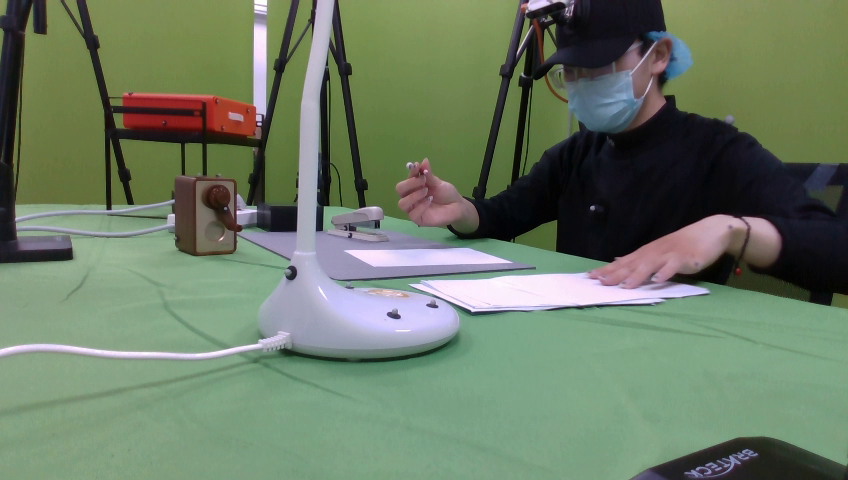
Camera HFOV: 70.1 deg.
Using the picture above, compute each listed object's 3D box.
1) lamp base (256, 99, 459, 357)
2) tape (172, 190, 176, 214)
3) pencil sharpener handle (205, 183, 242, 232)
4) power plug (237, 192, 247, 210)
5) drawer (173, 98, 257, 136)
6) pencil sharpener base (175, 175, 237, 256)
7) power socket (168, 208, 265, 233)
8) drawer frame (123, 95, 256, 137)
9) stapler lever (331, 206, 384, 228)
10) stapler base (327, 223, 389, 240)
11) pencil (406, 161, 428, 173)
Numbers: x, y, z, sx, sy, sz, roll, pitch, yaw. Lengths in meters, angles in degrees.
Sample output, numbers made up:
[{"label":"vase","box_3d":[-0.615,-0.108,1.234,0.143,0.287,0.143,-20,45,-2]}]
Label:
[{"label":"lamp base","box_3d":[-0.055,-0.013,0.463,0.160,0.180,0.180,6,11,27]},{"label":"tape","box_3d":[-0.515,-0.087,1.388,0.117,0.052,0.117,3,7,0]},{"label":"pencil sharpener handle","box_3d":[-0.265,-0.043,0.812,0.036,0.068,0.030,-32,28,-35]},{"label":"power plug","box_3d":[-0.386,-0.071,1.204,0.072,0.052,0.035,7,9,26]},{"label":"drawer","box_3d":[-0.518,-0.279,1.376,0.211,0.073,0.195,3,8,10]},{"label":"pencil sharpener base","box_3d":[-0.304,-0.035,0.847,0.062,0.107,0.076,-4,10,-42]},{"label":"power socket","box_3d":[-0.381,-0.038,1.129,0.072,0.032,0.227,4,8,17]},{"label":"drawer frame","box_3d":[-0.524,-0.280,1.376,0.213,0.082,0.202,3,8,8]},{"label":"stapler lever","box_3d":[-0.118,-0.043,1.070,0.117,0.040,0.027,7,8,41]},{"label":"stapler base","box_3d":[-0.117,-0.018,1.073,0.130,0.024,0.041,7,7,41]},{"label":"pencil","box_3d":[-0.011,-0.119,0.990,0.012,0.012,0.193,1,10,-10]}]
